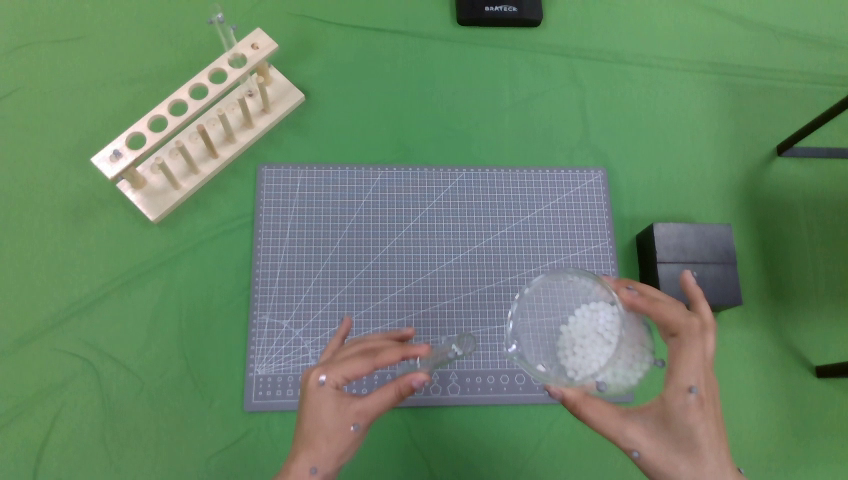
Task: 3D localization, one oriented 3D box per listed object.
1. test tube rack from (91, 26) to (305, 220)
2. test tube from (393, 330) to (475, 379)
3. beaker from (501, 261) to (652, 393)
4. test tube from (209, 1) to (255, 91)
[{"bbox_3d":[-0.257,-0.138,0.719,0.066,0.085,0.242,43,74,8],"label":"test tube rack"},{"bbox_3d":[0.003,0.092,0.473,0.017,0.150,0.017,7,68,-18],"label":"test tube"},{"bbox_3d":[0.107,0.066,0.410,0.084,0.101,0.073,-29,60,22],"label":"beaker"},{"bbox_3d":[-0.217,-0.217,0.694,0.017,0.151,0.017,1,71,-2],"label":"test tube"}]
